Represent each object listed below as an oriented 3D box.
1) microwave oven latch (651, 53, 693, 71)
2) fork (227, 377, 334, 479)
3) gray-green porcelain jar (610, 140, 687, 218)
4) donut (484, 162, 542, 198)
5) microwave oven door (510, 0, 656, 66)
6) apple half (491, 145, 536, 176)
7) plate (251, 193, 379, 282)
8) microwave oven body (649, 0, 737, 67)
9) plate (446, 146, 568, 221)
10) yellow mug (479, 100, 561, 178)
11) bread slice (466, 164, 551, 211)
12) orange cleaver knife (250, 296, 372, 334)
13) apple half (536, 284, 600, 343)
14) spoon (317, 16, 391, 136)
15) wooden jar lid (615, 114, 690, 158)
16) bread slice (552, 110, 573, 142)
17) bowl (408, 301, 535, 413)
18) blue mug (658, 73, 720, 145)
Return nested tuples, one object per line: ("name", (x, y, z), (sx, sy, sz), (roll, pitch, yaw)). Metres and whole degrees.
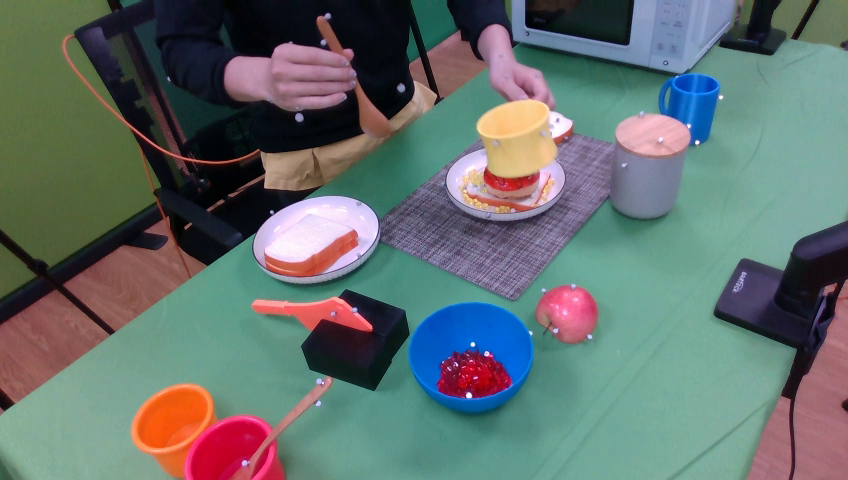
("microwave oven latch", (0.532, -0.386, 1.301), (0.078, 0.029, 0.030), (27, 52, 34))
("fork", (-0.162, 0.216, 0.647), (0.207, 0.019, 0.028), (-49, 41, 16))
("gray-green porcelain jar", (0.354, -0.107, 0.964), (0.106, 0.127, 0.105), (-4, 41, 4))
("donut", (0.149, -0.109, 1.016), (0.099, 0.048, 0.098), (-4, 40, 4))
("microwave oven door", (0.350, -0.539, 1.348), (0.353, 0.245, 0.039), (24, 50, 31))
("apple half", (0.147, -0.138, 0.994), (0.081, 0.033, 0.081), (0, 38, 1))
("plate", (-0.174, -0.001, 0.984), (0.209, 0.038, 0.208), (-4, 40, 4))
("microwave oven body", (0.475, -0.602, 1.411), (0.438, 0.261, 0.327), (23, 50, 32))
("plate", (0.142, -0.097, 1.045), (0.207, 0.039, 0.206), (-4, 40, 4))
("yellow mug", (0.138, -0.149, 0.837), (0.099, 0.064, 0.131), (2, 40, 30))
("bread slice", (0.141, -0.092, 1.042), (0.133, 0.018, 0.107), (11, 43, 19))
("orange cleaver knife", (-0.159, 0.103, 0.828), (0.210, 0.078, 0.012), (-4, 43, 39))
("apple half", (0.196, 0.091, 0.815), (0.075, 0.053, 0.080), (-22, 42, -20))
("spoon", (-0.090, -0.200, 0.766), (0.041, 0.195, 0.021), (-10, 48, 17))
("wooden jar lid", (0.347, -0.155, 0.923), (0.108, 0.021, 0.108), (-3, 44, 4))
("bread slice", (0.231, -0.231, 1.205), (0.105, 0.019, 0.130), (-36, 47, -28))
("bowl", (0.060, 0.156, 0.739), (0.151, 0.077, 0.150), (-4, 40, 4))
("blue mug", (0.483, -0.250, 1.127), (0.082, 0.106, 0.115), (-26, 44, -19))
